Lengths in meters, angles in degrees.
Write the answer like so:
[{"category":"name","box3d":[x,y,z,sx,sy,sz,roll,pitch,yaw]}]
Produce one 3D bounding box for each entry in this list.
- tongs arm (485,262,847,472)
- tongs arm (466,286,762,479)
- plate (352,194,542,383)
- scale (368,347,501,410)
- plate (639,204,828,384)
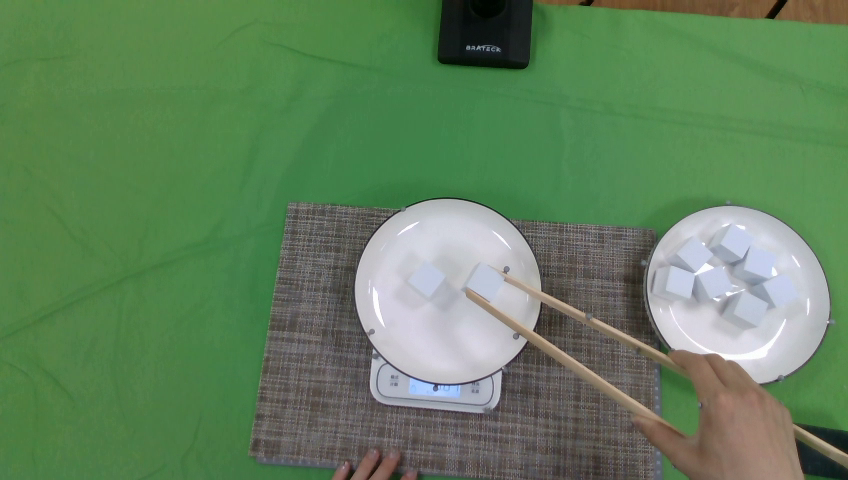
[{"category":"tongs arm","box3d":[0.208,0.123,0.547,0.382,0.027,0.050,27,71,25]},{"category":"tongs arm","box3d":[0.194,0.141,0.542,0.384,0.028,0.028,31,69,26]},{"category":"plate","box3d":[0.025,0.053,0.672,0.209,0.038,0.208,0,76,0]},{"category":"scale","box3d":[0.018,0.088,0.698,0.148,0.032,0.200,5,77,2]},{"category":"plate","box3d":[0.350,0.062,0.700,0.208,0.039,0.206,0,76,1]}]
